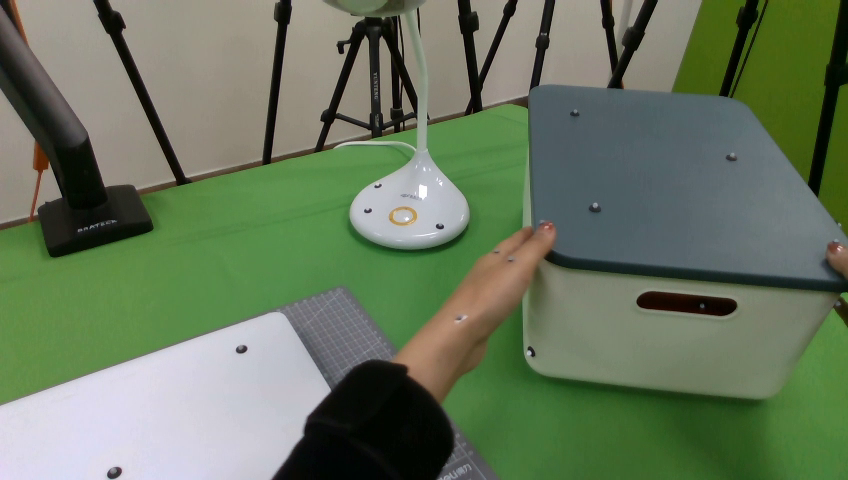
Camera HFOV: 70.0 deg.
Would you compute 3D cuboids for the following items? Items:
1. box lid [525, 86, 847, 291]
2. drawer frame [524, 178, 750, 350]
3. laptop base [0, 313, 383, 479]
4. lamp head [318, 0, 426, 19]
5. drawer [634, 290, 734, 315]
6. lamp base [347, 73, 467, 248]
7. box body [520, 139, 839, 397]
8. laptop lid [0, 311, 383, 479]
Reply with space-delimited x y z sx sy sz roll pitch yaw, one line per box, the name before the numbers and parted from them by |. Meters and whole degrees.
box lid | 0.235 -0.075 0.611 0.263 0.015 0.368 5 36 5
drawer frame | 0.217 0.017 0.677 0.201 0.083 0.212 3 33 3
laptop base | -0.238 0.189 0.474 0.355 0.023 0.233 -18 44 -27
lamp head | -0.047 -0.275 0.540 0.112 0.113 0.122 2 75 1
drawer | 0.217 0.022 0.676 0.194 0.074 0.210 2 33 4
lamp base | -0.019 -0.109 0.769 0.160 0.181 0.178 5 33 5
box body | 0.235 -0.015 0.666 0.254 0.162 0.361 5 35 5
laptop lid | -0.237 0.180 0.466 0.358 0.013 0.239 -17 42 -25
